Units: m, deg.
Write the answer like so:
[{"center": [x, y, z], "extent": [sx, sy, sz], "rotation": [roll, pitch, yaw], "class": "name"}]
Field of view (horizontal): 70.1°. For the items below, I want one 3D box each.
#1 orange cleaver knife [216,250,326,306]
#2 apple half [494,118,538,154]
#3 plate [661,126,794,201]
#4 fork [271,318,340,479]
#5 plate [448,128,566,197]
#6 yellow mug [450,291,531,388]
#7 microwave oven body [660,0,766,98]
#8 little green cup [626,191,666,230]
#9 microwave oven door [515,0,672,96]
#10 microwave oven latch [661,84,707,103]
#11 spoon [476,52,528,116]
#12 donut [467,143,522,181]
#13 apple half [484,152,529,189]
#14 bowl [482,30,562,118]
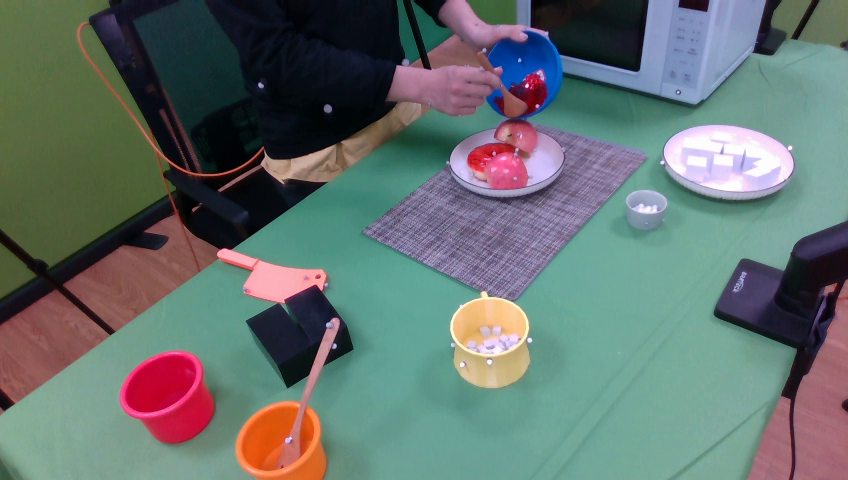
[{"center": [-0.248, 0.058, 0.945], "extent": [0.210, 0.012, 0.077], "rotation": [13, 49, 20], "class": "orange cleaver knife"}, {"center": [0.176, -0.197, 1.114], "extent": [0.080, 0.053, 0.075], "rotation": [31, 13, 35], "class": "apple half"}, {"center": [0.513, -0.128, 1.035], "extent": [0.207, 0.039, 0.206], "rotation": [-4, 40, 4], "class": "plate"}, {"center": [-0.132, 0.186, 0.676], "extent": [0.028, 0.019, 0.207], "rotation": [18, 90, 28], "class": "fork"}, {"center": [0.150, -0.138, 1.097], "extent": [0.209, 0.038, 0.208], "rotation": [-4, 40, 4], "class": "plate"}, {"center": [0.085, 0.120, 0.786], "extent": [0.100, 0.064, 0.130], "rotation": [-7, 39, 1], "class": "yellow mug"}, {"center": [0.472, -0.513, 1.317], "extent": [0.438, 0.261, 0.327], "rotation": [26, 51, 34], "class": "microwave oven body"}, {"center": [0.352, -0.046, 0.963], "extent": [0.061, 0.039, 0.061], "rotation": [-4, 40, 4], "class": "little green cup"}, {"center": [0.344, -0.455, 1.259], "extent": [0.353, 0.245, 0.039], "rotation": [26, 51, 33], "class": "microwave oven door"}, {"center": [0.517, -0.296, 1.204], "extent": [0.078, 0.029, 0.030], "rotation": [27, 52, 35], "class": "microwave oven latch"}, {"center": [0.124, -0.251, 0.990], "extent": [0.041, 0.195, 0.021], "rotation": [-21, 60, 22], "class": "spoon"}, {"center": [0.127, -0.143, 1.090], "extent": [0.099, 0.048, 0.098], "rotation": [-7, 35, 5], "class": "donut"}, {"center": [0.144, -0.116, 1.032], "extent": [0.081, 0.033, 0.081], "rotation": [2, 77, -10], "class": "apple half"}, {"center": [0.187, -0.290, 1.082], "extent": [0.150, 0.151, 0.077], "rotation": [24, 18, 32], "class": "bowl"}]
